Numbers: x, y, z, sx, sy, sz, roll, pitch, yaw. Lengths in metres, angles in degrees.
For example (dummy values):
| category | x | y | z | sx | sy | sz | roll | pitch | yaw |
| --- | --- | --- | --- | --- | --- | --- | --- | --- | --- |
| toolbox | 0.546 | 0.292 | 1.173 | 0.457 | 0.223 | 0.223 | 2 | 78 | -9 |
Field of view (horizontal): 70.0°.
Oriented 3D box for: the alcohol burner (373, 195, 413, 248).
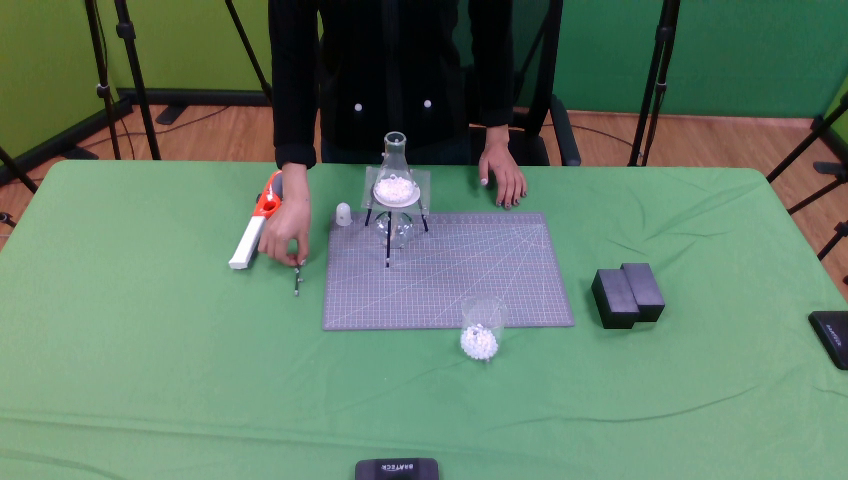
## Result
| category | x | y | z | sx | sy | sz | roll | pitch | yaw |
| --- | --- | --- | --- | --- | --- | --- | --- | --- | --- |
| alcohol burner | -0.059 | -0.041 | 1.167 | 0.078 | 0.119 | 0.077 | 4 | 46 | -4 |

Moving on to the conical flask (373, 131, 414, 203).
| category | x | y | z | sx | sy | sz | roll | pitch | yaw |
| --- | --- | --- | --- | --- | --- | --- | --- | --- | --- |
| conical flask | -0.053 | -0.131 | 1.067 | 0.075 | 0.122 | 0.075 | 2 | 44 | -2 |

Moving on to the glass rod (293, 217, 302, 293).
| category | x | y | z | sx | sy | sz | roll | pitch | yaw |
| --- | --- | --- | --- | --- | --- | --- | --- | --- | --- |
| glass rod | -0.242 | 0.024 | 1.167 | 0.008 | 0.008 | 0.198 | -2 | 47 | -5 |

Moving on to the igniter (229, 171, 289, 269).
| category | x | y | z | sx | sy | sz | roll | pitch | yaw |
| --- | --- | --- | --- | --- | --- | --- | --- | --- | --- |
| igniter | -0.328 | -0.049 | 1.218 | 0.057 | 0.025 | 0.275 | 0 | 45 | 11 |

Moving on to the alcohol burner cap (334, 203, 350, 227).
| category | x | y | z | sx | sy | sz | roll | pitch | yaw |
| --- | --- | --- | --- | --- | --- | --- | --- | --- | --- |
| alcohol burner cap | -0.166 | -0.054 | 1.221 | 0.034 | 0.048 | 0.033 | 3 | 46 | -3 |

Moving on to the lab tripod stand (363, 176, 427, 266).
| category | x | y | z | sx | sy | sz | roll | pitch | yaw |
| --- | --- | --- | --- | --- | --- | --- | --- | --- | --- |
| lab tripod stand | -0.058 | -0.047 | 1.159 | 0.148 | 0.132 | 0.147 | 3 | 44 | -2 |

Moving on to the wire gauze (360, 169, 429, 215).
| category | x | y | z | sx | sy | sz | roll | pitch | yaw |
| --- | --- | --- | --- | --- | --- | --- | --- | --- | --- |
| wire gauze | -0.052 | -0.092 | 1.111 | 0.125 | 0.011 | 0.120 | 3 | 43 | 1 |

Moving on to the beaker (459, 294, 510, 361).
| category | x | y | z | sx | sy | sz | roll | pitch | yaw |
| --- | --- | --- | --- | --- | --- | --- | --- | --- | --- |
| beaker | 0.095 | 0.147 | 1.012 | 0.083 | 0.101 | 0.074 | 26 | 49 | 21 |
